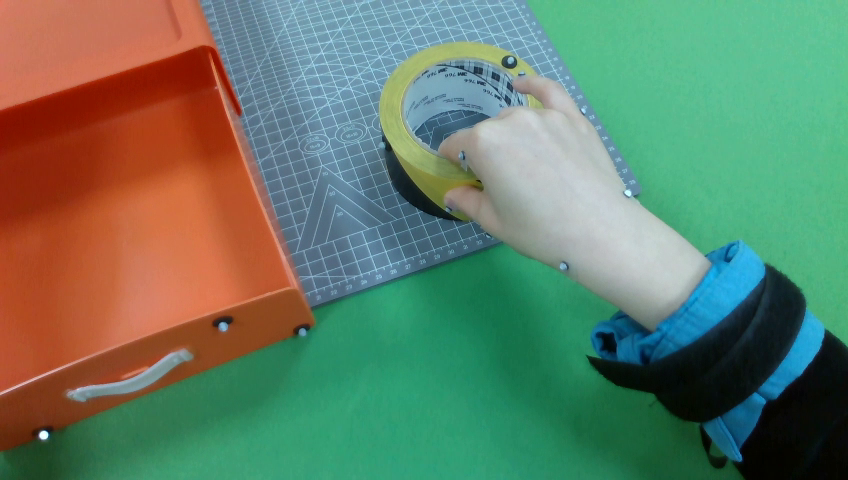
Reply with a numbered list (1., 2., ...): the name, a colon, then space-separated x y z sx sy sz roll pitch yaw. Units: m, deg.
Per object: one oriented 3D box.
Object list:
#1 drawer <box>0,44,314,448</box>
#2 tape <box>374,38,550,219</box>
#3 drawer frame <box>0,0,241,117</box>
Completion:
1. drawer: -0.194 -0.011 0.364 0.195 0.074 0.210 -21 67 -9
2. tape: 0.026 -0.074 0.406 0.117 0.053 0.116 0 65 0
3. drawer frame: -0.262 -0.153 0.430 0.202 0.083 0.211 -22 65 -10
